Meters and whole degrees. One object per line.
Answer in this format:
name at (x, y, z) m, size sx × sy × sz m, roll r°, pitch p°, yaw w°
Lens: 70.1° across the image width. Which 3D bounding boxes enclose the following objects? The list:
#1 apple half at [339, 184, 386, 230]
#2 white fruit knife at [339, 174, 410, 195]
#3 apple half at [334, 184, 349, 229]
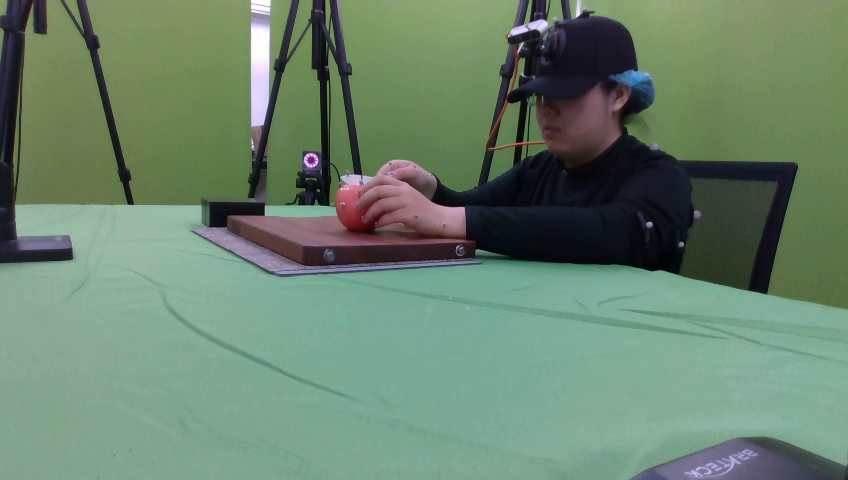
apple half at (-0.090, -0.051, 0.951) m, size 0.053 × 0.074 × 0.081 m, roll 11°, pitch 4°, yaw 28°
white fruit knife at (-0.079, -0.096, 1.009) m, size 0.016 × 0.027 × 0.208 m, roll 3°, pitch 1°, yaw 28°
apple half at (-0.124, -0.055, 0.970) m, size 0.032 × 0.081 × 0.081 m, roll 10°, pitch 10°, yaw 28°
